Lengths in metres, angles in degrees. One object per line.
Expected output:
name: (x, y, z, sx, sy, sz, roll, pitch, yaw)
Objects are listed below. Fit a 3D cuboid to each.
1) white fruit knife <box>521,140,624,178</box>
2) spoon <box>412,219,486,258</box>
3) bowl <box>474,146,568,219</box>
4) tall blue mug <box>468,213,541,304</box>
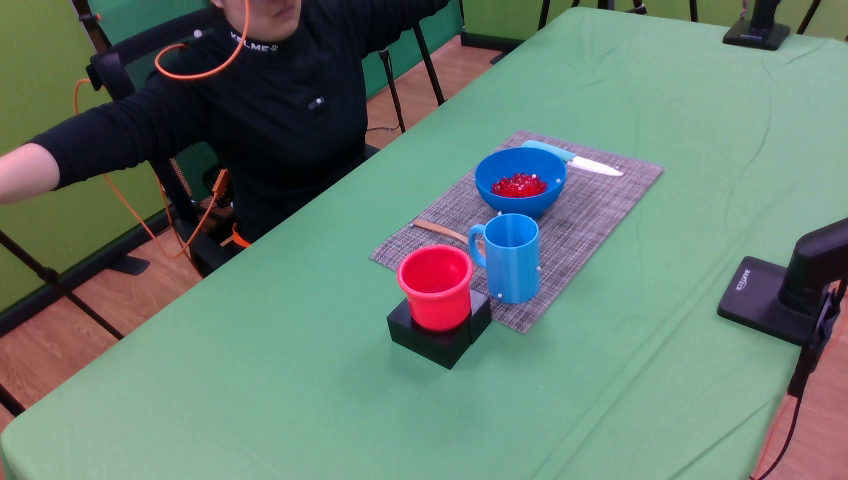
white fruit knife: (0.270, -0.149, 1.110, 0.206, 0.016, 0.027, 25, 80, 32)
spoon: (0.054, -0.005, 0.971, 0.192, 0.022, 0.041, 25, 68, 33)
bowl: (0.161, -0.083, 1.000, 0.151, 0.077, 0.150, -5, 40, 5)
tall blue mug: (0.111, 0.026, 0.856, 0.107, 0.108, 0.077, 2, 42, 13)
